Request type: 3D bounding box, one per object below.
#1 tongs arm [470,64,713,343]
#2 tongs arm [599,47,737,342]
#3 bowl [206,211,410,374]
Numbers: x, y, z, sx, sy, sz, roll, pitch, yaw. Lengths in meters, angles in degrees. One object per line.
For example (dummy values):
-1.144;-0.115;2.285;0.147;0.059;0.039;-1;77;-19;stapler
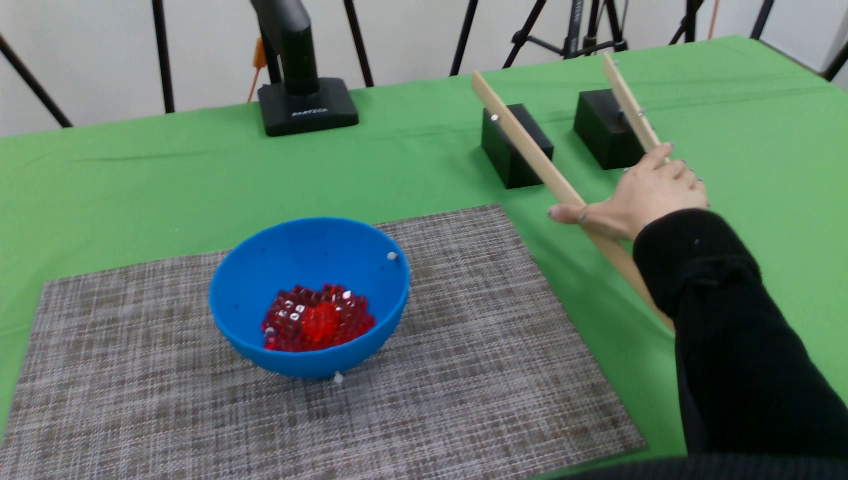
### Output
0.141;-0.056;0.600;0.028;0.028;0.383;-16;55;-22;tongs arm
0.227;-0.073;0.619;0.051;0.027;0.380;-5;53;-10;tongs arm
-0.087;0.053;0.483;0.151;0.077;0.150;0;42;0;bowl
